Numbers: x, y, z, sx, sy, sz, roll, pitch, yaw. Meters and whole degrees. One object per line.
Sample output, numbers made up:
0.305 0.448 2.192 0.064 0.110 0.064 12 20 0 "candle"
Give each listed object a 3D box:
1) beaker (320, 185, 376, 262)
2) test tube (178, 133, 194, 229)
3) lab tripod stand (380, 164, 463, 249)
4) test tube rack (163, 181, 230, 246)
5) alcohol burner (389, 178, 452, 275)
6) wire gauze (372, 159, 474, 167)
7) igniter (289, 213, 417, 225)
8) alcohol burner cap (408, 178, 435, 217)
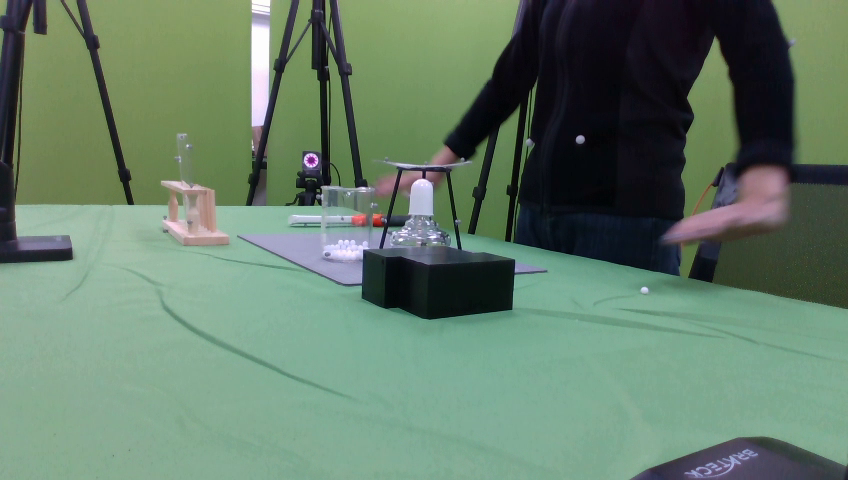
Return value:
-0.105 -0.024 0.826 0.074 0.100 0.084 2 7 -7 "beaker"
-0.367 -0.089 0.939 0.017 0.150 0.017 -2 8 1 "test tube"
-0.003 -0.055 0.967 0.148 0.131 0.148 2 9 0 "lab tripod stand"
-0.387 -0.050 1.015 0.067 0.085 0.241 -2 9 -30 "test tube rack"
-0.004 -0.017 0.749 0.078 0.119 0.078 1 9 0 "alcohol burner"
-0.004 -0.122 0.959 0.122 0.011 0.124 -4 9 -33 "wire gauze"
-0.144 -0.044 1.276 0.278 0.025 0.057 -1 -2 -27 "igniter"
-0.002 -0.053 0.746 0.034 0.048 0.034 2 3 0 "alcohol burner cap"
